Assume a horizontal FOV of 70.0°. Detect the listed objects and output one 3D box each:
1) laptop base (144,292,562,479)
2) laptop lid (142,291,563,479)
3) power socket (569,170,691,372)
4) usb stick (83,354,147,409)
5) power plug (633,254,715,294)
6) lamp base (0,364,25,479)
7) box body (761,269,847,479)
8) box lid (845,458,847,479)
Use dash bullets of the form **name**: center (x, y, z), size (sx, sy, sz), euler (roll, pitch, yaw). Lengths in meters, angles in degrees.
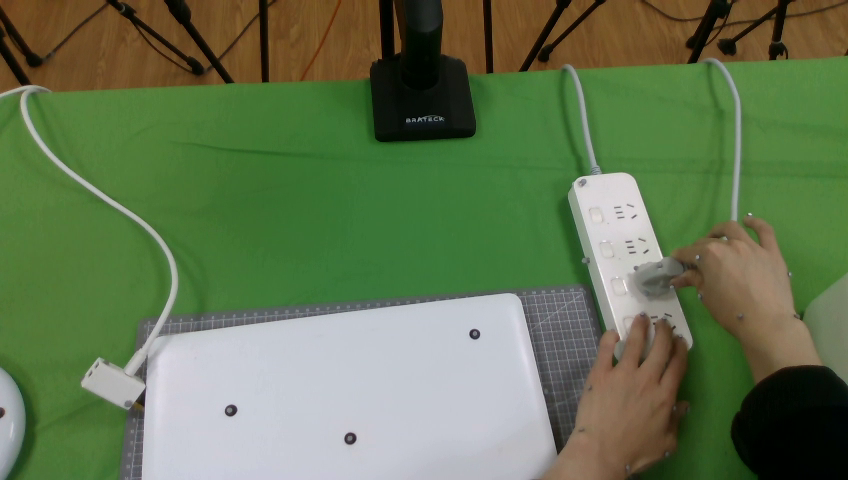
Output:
- **laptop base**: center (-0.063, 0.174, 0.540), size (0.355, 0.023, 0.233), euler (-6, 66, -7)
- **laptop lid**: center (-0.063, 0.171, 0.528), size (0.357, 0.013, 0.239), euler (-5, 65, -5)
- **power socket**: center (0.208, 0.022, 0.627), size (0.072, 0.033, 0.224), euler (-5, 62, -7)
- **usb stick**: center (-0.266, 0.127, 0.533), size (0.060, 0.021, 0.027), euler (46, 72, -29)
- **power plug**: center (0.242, 0.037, 0.594), size (0.072, 0.053, 0.035), euler (5, 61, 1)
- **lamp base**: center (-0.437, 0.129, 0.453), size (0.178, 0.181, 0.160), euler (20, 62, 11)
- **box body**: center (0.423, 0.200, 0.469), size (0.253, 0.161, 0.362), euler (26, 64, 10)
- **box lid**: center (0.427, 0.163, 0.404), size (0.262, 0.015, 0.370), euler (25, 64, 11)
